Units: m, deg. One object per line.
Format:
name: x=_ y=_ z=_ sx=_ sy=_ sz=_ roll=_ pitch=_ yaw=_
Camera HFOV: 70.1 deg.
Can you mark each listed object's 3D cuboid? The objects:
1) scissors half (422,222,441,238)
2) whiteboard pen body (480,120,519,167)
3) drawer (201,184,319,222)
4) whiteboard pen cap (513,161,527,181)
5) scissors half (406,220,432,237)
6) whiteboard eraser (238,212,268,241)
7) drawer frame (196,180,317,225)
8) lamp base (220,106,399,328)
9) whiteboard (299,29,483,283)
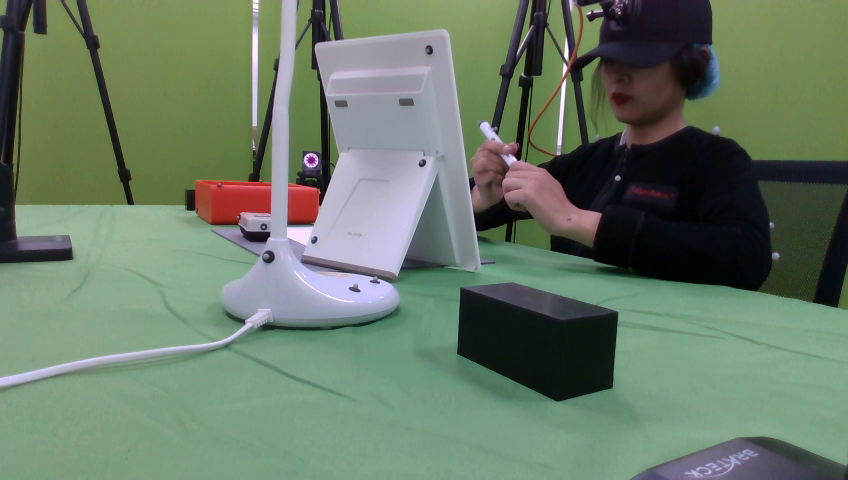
scissors half: x=0.013 y=-0.018 z=1.217 sx=0.040 sy=0.013 sz=0.175 roll=14 pitch=9 yaw=1
whiteboard pen body: x=0.124 y=-0.147 z=0.957 sx=0.017 sy=0.017 sz=0.140 roll=-2 pitch=44 yaw=-29
drawer: x=-0.353 y=-0.082 z=1.296 sx=0.213 sy=0.073 sz=0.193 roll=-2 pitch=10 yaw=-28
whiteboard pen cap: x=0.144 y=-0.106 z=0.919 sx=0.018 sy=0.018 sz=0.033 roll=1 pitch=40 yaw=-12
scissors half: x=-0.006 y=-0.022 z=1.215 sx=0.040 sy=0.013 sz=0.174 roll=6 pitch=10 yaw=-15
whiteboard eraser: x=-0.272 y=-0.023 z=0.998 sx=0.056 sy=0.042 sz=0.112 roll=-2 pitch=9 yaw=-24
drawer frame: x=-0.359 y=-0.083 z=1.292 sx=0.215 sy=0.082 sz=0.200 roll=-2 pitch=10 yaw=-30
lamp base: x=-0.102 y=-0.023 z=0.531 sx=0.160 sy=0.180 sz=0.179 roll=4 pitch=10 yaw=10
whiteboard: x=-0.074 y=-0.082 z=0.742 sx=0.216 sy=0.305 sz=0.144 roll=9 pitch=29 yaw=38
